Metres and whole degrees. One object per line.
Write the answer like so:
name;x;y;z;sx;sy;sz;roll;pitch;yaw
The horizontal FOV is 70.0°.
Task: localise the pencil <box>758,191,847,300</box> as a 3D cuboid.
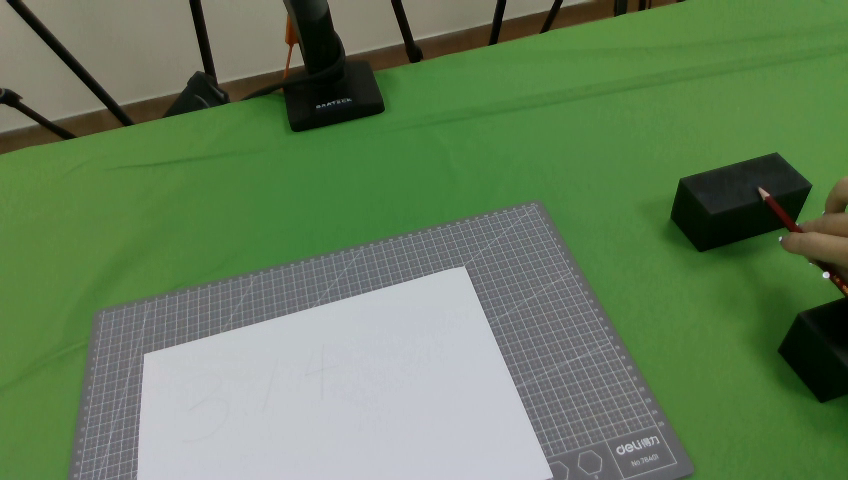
pencil;0.310;0.021;0.467;0.012;0.012;0.192;-11;44;-2
